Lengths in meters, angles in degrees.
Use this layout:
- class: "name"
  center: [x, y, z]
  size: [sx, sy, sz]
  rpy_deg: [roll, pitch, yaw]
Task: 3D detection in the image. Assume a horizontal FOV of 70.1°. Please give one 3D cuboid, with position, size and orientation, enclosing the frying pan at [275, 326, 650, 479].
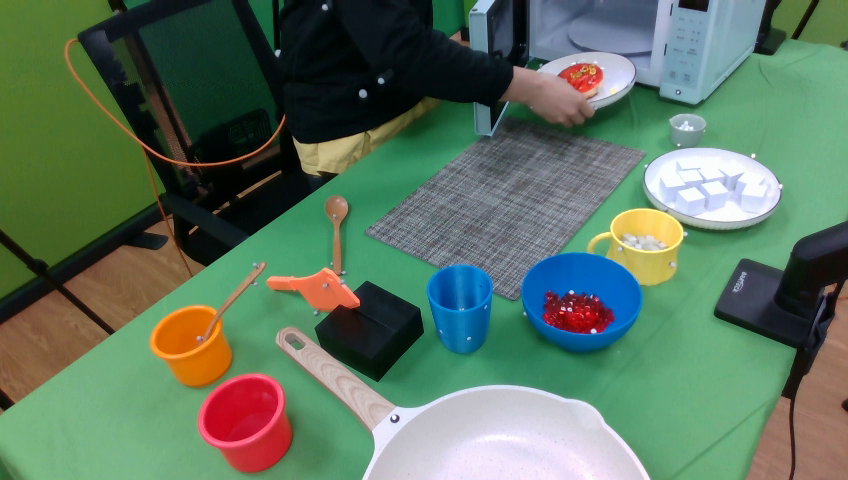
- class: "frying pan"
  center: [0.003, 0.229, 0.641]
  size: [0.484, 0.103, 0.308]
  rpy_deg: [34, 54, 28]

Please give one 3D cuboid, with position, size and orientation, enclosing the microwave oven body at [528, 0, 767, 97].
- class: "microwave oven body"
  center: [0.473, -0.516, 1.313]
  size: [0.438, 0.261, 0.327]
  rpy_deg: [26, 51, 34]

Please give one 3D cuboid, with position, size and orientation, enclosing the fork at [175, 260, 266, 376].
- class: "fork"
  center: [-0.268, 0.103, 0.792]
  size: [0.207, 0.019, 0.028]
  rpy_deg: [-51, 41, 16]

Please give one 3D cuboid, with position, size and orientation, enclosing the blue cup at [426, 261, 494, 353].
- class: "blue cup"
  center: [0.049, 0.095, 0.792]
  size: [0.092, 0.100, 0.092]
  rpy_deg: [-3, 43, 3]

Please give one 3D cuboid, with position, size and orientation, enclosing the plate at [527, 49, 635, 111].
- class: "plate"
  center: [0.309, -0.312, 1.196]
  size: [0.209, 0.038, 0.208]
  rpy_deg: [-10, 41, 9]

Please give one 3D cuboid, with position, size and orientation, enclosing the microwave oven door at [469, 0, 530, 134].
- class: "microwave oven door"
  center: [0.162, -0.413, 1.231]
  size: [0.039, 0.245, 0.355]
  rpy_deg: [9, 43, 18]

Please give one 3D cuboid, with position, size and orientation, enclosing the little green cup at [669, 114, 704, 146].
- class: "little green cup"
  center: [0.485, -0.203, 1.123]
  size: [0.061, 0.039, 0.061]
  rpy_deg: [-6, 38, 5]

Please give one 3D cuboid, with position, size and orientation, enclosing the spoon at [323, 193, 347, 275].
- class: "spoon"
  center: [-0.148, -0.014, 1.008]
  size: [0.042, 0.022, 0.192]
  rpy_deg: [1, 40, -9]

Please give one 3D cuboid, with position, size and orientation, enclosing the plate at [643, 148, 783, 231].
- class: "plate"
  center: [0.464, -0.080, 0.986]
  size: [0.207, 0.039, 0.206]
  rpy_deg: [-4, 41, 4]

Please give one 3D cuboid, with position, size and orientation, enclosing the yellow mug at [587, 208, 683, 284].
- class: "yellow mug"
  center: [0.305, 0.009, 0.884]
  size: [0.131, 0.064, 0.099]
  rpy_deg: [-4, 41, 5]

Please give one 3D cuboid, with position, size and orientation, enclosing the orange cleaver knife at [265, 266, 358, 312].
- class: "orange cleaver knife"
  center: [-0.165, 0.073, 0.864]
  size: [0.210, 0.077, 0.012]
  rpy_deg: [-6, 31, 50]

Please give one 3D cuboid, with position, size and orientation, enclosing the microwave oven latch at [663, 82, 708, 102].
- class: "microwave oven latch"
  center: [0.518, -0.299, 1.202]
  size: [0.078, 0.029, 0.030]
  rpy_deg: [30, 53, 36]

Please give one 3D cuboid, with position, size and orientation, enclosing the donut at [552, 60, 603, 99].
- class: "donut"
  center: [0.301, -0.314, 1.186]
  size: [0.099, 0.048, 0.098]
  rpy_deg: [-14, 41, 13]

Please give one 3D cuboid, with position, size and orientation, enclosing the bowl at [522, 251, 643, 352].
- class: "bowl"
  center: [0.204, 0.093, 0.792]
  size: [0.151, 0.077, 0.150]
  rpy_deg: [-4, 40, 4]
